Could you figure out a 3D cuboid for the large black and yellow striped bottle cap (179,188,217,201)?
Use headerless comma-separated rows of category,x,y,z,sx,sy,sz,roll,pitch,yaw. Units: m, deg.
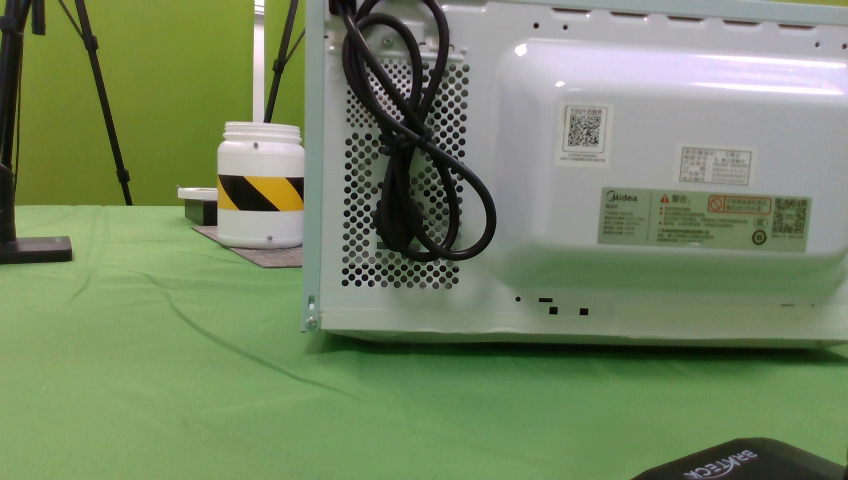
large black and yellow striped bottle cap,-0.434,-0.093,1.226,0.115,0.019,0.115,3,9,0

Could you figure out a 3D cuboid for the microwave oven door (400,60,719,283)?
microwave oven door,0.155,-0.079,0.711,0.356,0.243,0.039,3,8,0

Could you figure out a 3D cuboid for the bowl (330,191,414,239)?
bowl,-0.095,-0.044,1.096,0.151,0.077,0.151,3,8,0

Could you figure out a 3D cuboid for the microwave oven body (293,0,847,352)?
microwave oven body,0.122,-0.055,0.550,0.442,0.260,0.325,3,7,-5

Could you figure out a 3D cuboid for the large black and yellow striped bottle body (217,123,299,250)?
large black and yellow striped bottle body,-0.250,-0.084,0.931,0.131,0.184,0.130,2,7,0

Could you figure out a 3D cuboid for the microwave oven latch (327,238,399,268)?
microwave oven latch,-0.069,0.015,0.694,0.079,0.029,0.030,3,7,-3
